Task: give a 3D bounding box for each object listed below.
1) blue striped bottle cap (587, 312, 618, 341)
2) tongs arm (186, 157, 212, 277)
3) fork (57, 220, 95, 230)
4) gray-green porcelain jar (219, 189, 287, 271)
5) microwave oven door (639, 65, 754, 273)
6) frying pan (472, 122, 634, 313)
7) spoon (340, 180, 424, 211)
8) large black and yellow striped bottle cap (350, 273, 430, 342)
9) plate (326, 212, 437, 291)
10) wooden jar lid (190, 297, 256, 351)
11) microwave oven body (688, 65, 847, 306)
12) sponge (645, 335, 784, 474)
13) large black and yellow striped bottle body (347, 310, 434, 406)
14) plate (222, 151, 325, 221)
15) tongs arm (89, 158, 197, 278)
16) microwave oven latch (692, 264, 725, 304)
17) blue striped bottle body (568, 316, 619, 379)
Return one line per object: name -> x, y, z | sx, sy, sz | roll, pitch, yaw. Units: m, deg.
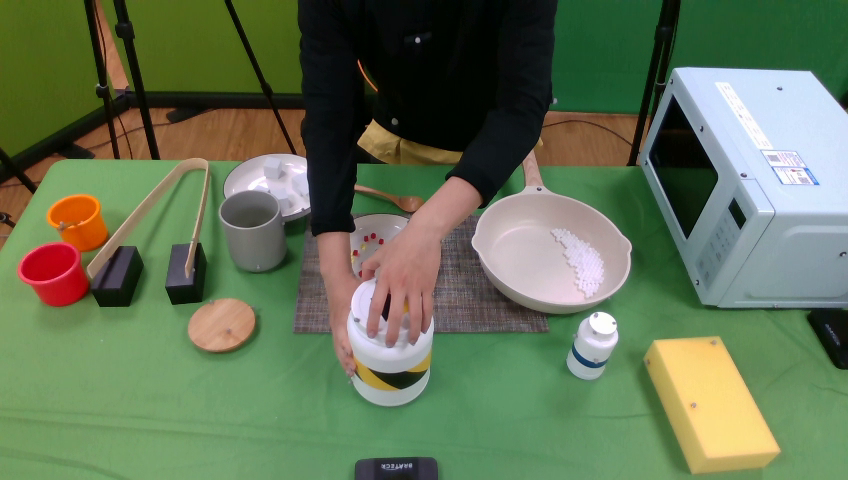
blue striped bottle cap -> 0.279, 0.134, 0.947 | 0.044, 0.021, 0.044 | 2, 45, -2
tongs arm -> -0.445, -0.058, 1.168 | 0.051, 0.026, 0.382 | -5, 37, -6
fork -> -0.624, -0.027, 1.086 | 0.028, 0.207, 0.018 | -3, 92, -17
gray-green porcelain jar -> -0.309, -0.014, 1.113 | 0.106, 0.127, 0.105 | 2, 47, -2
microwave oven door -> 0.522, -0.147, 1.192 | 0.039, 0.245, 0.353 | 0, 47, -3
frying pan -> 0.235, -0.061, 1.207 | 0.307, 0.103, 0.484 | 1, 55, -6
spoon -> -0.090, -0.100, 1.282 | 0.193, 0.022, 0.041 | 18, 74, 11
large black and yellow striped bottle cap -> -0.049, 0.094, 0.868 | 0.115, 0.019, 0.114 | 1, 46, -1
plate -> -0.080, 0.030, 1.143 | 0.209, 0.038, 0.208 | 2, 46, -2
wooden jar lid -> -0.342, 0.145, 1.033 | 0.108, 0.021, 0.107 | 2, 45, -2
microwave oven body -> 0.669, -0.111, 1.176 | 0.326, 0.261, 0.439 | 0, 46, -3
sponge -> 0.449, 0.253, 0.956 | 0.118, 0.061, 0.205 | -4, 46, -7
large black and yellow striped bottle body -> -0.052, 0.156, 0.931 | 0.131, 0.185, 0.130 | 2, 47, -2
plate -> -0.310, -0.106, 1.262 | 0.208, 0.039, 0.206 | 3, 47, -2
tongs arm -> -0.530, -0.057, 1.164 | 0.028, 0.028, 0.385 | 1, 36, 8
microwave oven latch -> 0.522, 0.081, 1.116 | 0.030, 0.029, 0.078 | 1, 46, -2
blue striped bottle body -> 0.276, 0.169, 0.984 | 0.063, 0.121, 0.062 | 2, 46, -2
